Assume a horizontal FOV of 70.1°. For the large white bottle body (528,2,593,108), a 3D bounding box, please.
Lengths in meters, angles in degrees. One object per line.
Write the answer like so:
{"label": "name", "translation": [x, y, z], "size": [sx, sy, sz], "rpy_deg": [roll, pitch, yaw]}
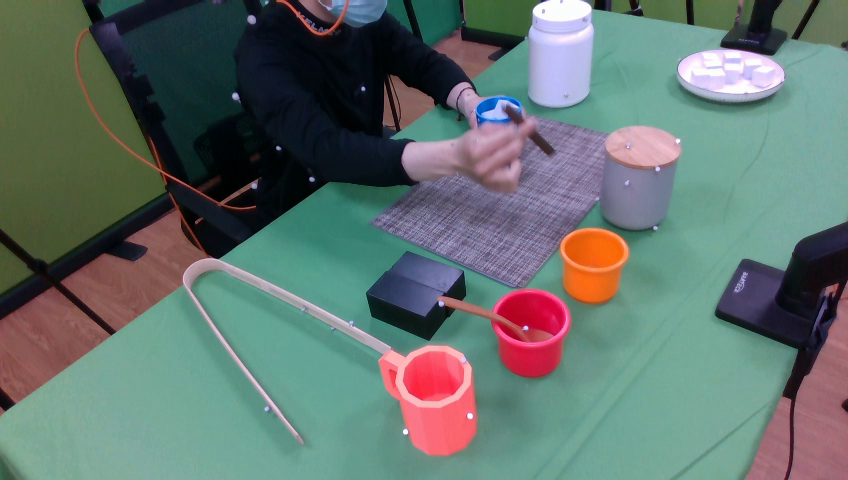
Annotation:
{"label": "large white bottle body", "translation": [0.283, -0.386, 1.259], "size": [0.130, 0.185, 0.130], "rpy_deg": [-5, 41, 4]}

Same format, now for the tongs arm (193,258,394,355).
{"label": "tongs arm", "translation": [-0.204, 0.099, 0.881], "size": [0.382, 0.027, 0.051], "rpy_deg": [23, 55, 32]}

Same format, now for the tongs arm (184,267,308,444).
{"label": "tongs arm", "translation": [-0.259, 0.147, 0.843], "size": [0.028, 0.028, 0.384], "rpy_deg": [-38, 48, -18]}

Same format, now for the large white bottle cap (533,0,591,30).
{"label": "large white bottle cap", "translation": [0.274, -0.449, 1.204], "size": [0.115, 0.018, 0.114], "rpy_deg": [-4, 41, 4]}

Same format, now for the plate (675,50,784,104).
{"label": "plate", "translation": [0.632, -0.336, 1.262], "size": [0.207, 0.039, 0.206], "rpy_deg": [-4, 41, 4]}

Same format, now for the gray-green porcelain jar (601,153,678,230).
{"label": "gray-green porcelain jar", "translation": [0.334, -0.087, 0.949], "size": [0.106, 0.127, 0.105], "rpy_deg": [-4, 40, 4]}

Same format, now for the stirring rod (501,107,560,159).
{"label": "stirring rod", "translation": [0.149, -0.144, 0.829], "size": [0.014, 0.178, 0.006], "rpy_deg": [-47, 58, 15]}

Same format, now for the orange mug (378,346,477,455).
{"label": "orange mug", "translation": [0.002, 0.179, 0.708], "size": [0.125, 0.101, 0.083], "rpy_deg": [25, 50, 27]}

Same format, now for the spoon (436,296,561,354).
{"label": "spoon", "translation": [0.096, 0.102, 0.750], "size": [0.195, 0.021, 0.041], "rpy_deg": [28, 31, -28]}

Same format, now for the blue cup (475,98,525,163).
{"label": "blue cup", "translation": [0.140, -0.202, 1.134], "size": [0.092, 0.100, 0.092], "rpy_deg": [-4, 39, 4]}

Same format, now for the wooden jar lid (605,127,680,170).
{"label": "wooden jar lid", "translation": [0.327, -0.134, 0.909], "size": [0.108, 0.021, 0.108], "rpy_deg": [-2, 43, 2]}
